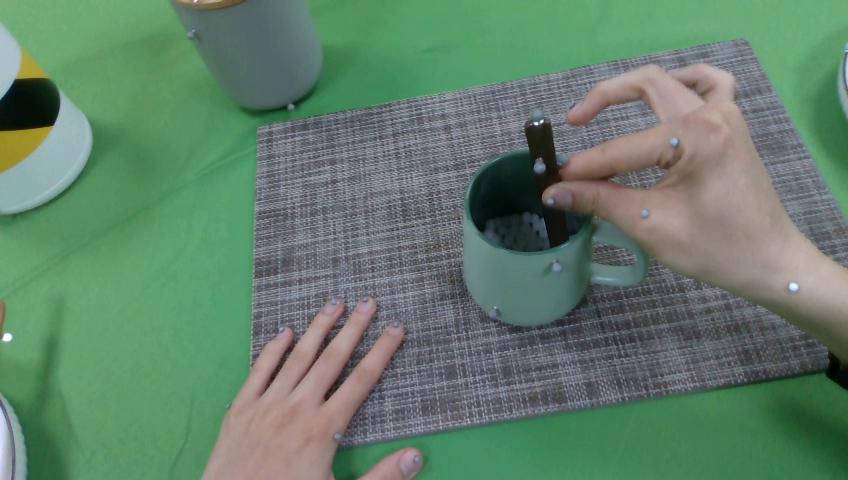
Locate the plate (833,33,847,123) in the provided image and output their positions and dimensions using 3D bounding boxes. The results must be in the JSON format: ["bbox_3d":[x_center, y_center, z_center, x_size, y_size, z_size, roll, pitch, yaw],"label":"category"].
[{"bbox_3d":[0.427,-0.111,0.467,0.207,0.039,0.206,-3,61,6],"label":"plate"}]

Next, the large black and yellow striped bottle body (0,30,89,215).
[{"bbox_3d":[-0.390,-0.119,0.499,0.130,0.185,0.129,-3,60,6],"label":"large black and yellow striped bottle body"}]

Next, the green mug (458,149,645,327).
[{"bbox_3d":[0.083,0.004,0.408,0.125,0.106,0.092,10,62,13],"label":"green mug"}]

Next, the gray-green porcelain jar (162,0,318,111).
[{"bbox_3d":[-0.157,-0.188,0.540,0.106,0.127,0.105,-3,60,6],"label":"gray-green porcelain jar"}]

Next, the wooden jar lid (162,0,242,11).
[{"bbox_3d":[-0.165,-0.219,0.487,0.108,0.021,0.107,-3,63,6],"label":"wooden jar lid"}]

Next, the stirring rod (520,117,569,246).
[{"bbox_3d":[0.078,-0.022,0.372,0.014,0.178,0.005,-13,62,12],"label":"stirring rod"}]

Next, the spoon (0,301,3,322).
[{"bbox_3d":[-0.311,0.130,0.415,0.041,0.022,0.192,-8,68,2],"label":"spoon"}]

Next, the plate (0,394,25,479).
[{"bbox_3d":[-0.366,0.189,0.408,0.209,0.038,0.207,-3,60,6],"label":"plate"}]
